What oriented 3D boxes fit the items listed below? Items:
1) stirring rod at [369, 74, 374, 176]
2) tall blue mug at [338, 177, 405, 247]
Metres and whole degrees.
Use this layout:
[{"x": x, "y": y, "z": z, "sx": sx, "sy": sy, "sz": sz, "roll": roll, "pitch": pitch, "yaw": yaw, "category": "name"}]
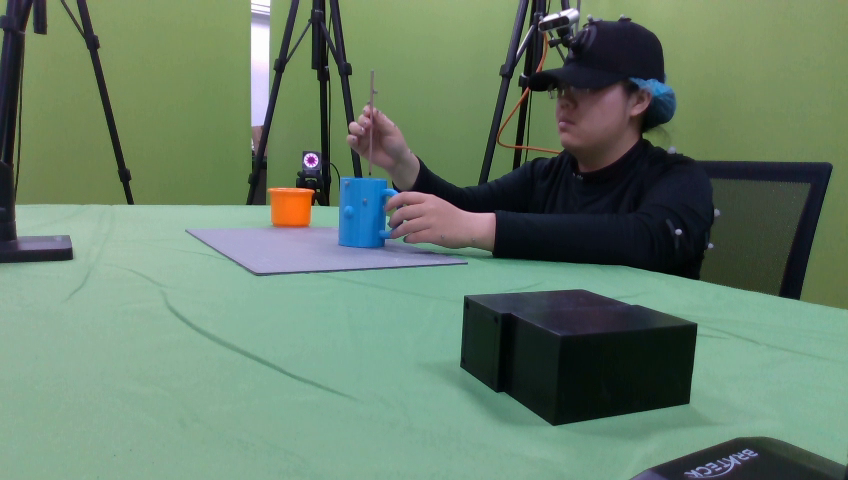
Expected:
[{"x": -0.087, "y": -0.191, "z": 0.996, "sx": 0.006, "sy": 0.176, "sz": 0.014, "roll": 2, "pitch": -9, "yaw": -11, "category": "stirring rod"}, {"x": -0.083, "y": -0.045, "z": 0.973, "sx": 0.107, "sy": 0.108, "sz": 0.078, "roll": 2, "pitch": 6, "yaw": 0, "category": "tall blue mug"}]
